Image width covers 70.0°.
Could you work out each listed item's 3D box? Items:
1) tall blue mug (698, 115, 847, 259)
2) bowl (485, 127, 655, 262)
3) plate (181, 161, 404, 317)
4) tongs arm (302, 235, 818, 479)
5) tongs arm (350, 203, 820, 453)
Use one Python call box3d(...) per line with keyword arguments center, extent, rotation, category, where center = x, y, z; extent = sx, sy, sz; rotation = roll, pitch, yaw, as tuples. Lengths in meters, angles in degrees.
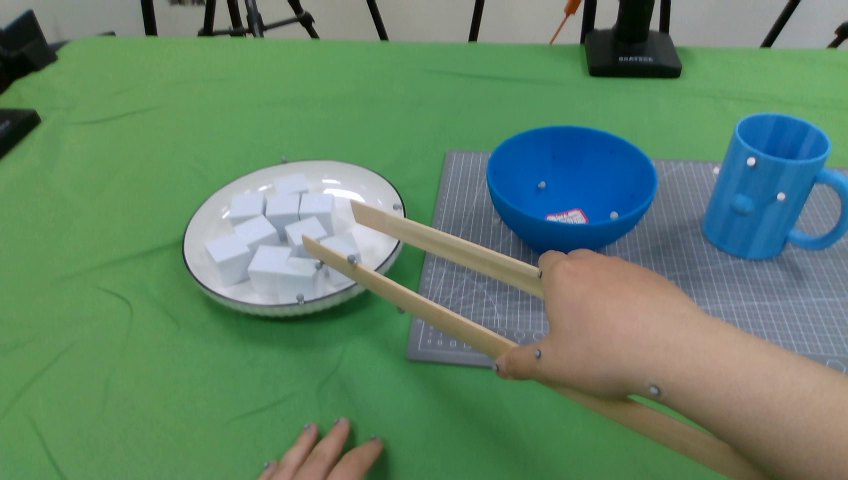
box3d(center=(0.318, -0.043, 0.545), extent=(0.107, 0.109, 0.077), rotation=(12, 44, 16), category="tall blue mug")
box3d(center=(0.131, -0.033, 0.568), extent=(0.151, 0.077, 0.150), rotation=(-1, 42, 2), category="bowl")
box3d(center=(-0.121, -0.002, 0.581), extent=(0.209, 0.038, 0.207), rotation=(-1, 43, 1), category="plate")
box3d(center=(0.045, 0.054, 0.411), extent=(0.051, 0.027, 0.381), rotation=(-35, 41, -31), category="tongs arm")
box3d(center=(0.068, 0.036, 0.430), extent=(0.028, 0.028, 0.384), rotation=(-32, 40, -34), category="tongs arm")
